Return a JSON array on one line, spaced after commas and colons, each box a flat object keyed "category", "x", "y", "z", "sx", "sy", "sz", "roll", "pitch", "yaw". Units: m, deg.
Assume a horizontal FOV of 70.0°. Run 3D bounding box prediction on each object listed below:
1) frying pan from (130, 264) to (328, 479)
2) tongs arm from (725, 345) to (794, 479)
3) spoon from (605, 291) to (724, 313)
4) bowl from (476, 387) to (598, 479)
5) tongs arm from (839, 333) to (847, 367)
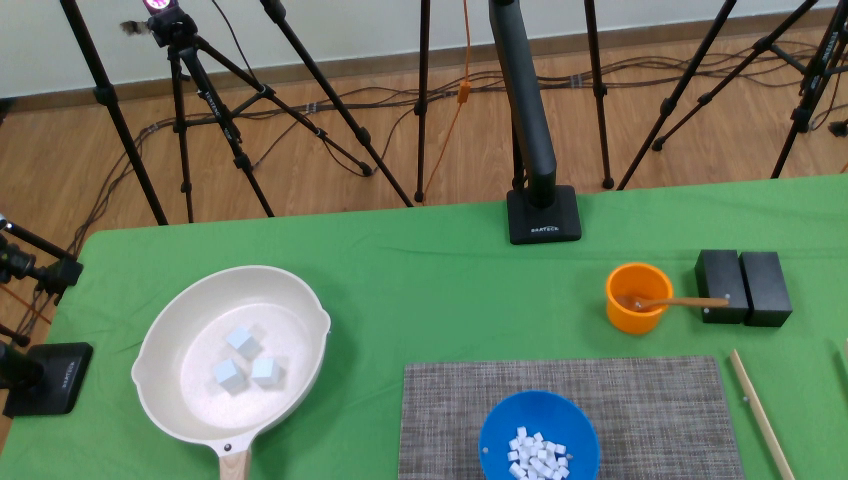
[{"category": "frying pan", "x": -0.272, "y": 0.247, "z": 0.867, "sx": 0.307, "sy": 0.104, "sz": 0.482, "roll": -15, "pitch": 46, "yaw": 1}, {"category": "tongs arm", "x": 0.466, "y": 0.305, "z": 0.751, "sx": 0.028, "sy": 0.028, "sz": 0.383, "roll": -12, "pitch": 54, "yaw": 0}, {"category": "spoon", "x": 0.331, "y": 0.084, "z": 0.851, "sx": 0.022, "sy": 0.193, "sz": 0.041, "roll": 48, "pitch": 65, "yaw": -13}, {"category": "bowl", "x": 0.146, "y": 0.276, "z": 0.788, "sx": 0.151, "sy": 0.077, "sz": 0.150, "roll": -4, "pitch": 55, "yaw": 6}, {"category": "tongs arm", "x": 0.546, "y": 0.294, "z": 0.739, "sx": 0.050, "sy": 0.027, "sz": 0.381, "roll": -2, "pitch": 56, "yaw": 10}]
